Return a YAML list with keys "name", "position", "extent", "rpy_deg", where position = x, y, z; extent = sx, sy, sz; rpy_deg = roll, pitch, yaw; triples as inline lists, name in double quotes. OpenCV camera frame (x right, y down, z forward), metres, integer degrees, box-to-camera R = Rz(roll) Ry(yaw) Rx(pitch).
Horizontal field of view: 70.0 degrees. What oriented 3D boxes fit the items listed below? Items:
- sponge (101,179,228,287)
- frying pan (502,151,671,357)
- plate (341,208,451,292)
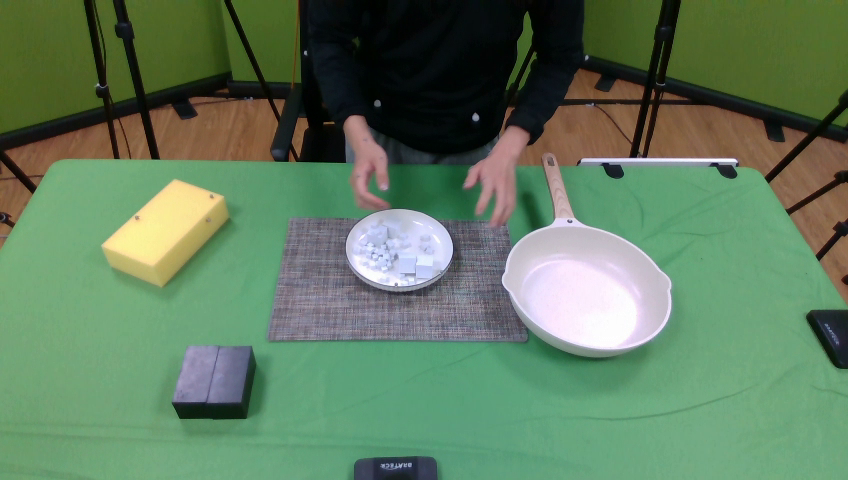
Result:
- name: "sponge"
  position: [-0.486, -0.018, 1.151]
  extent: [0.118, 0.061, 0.206]
  rpy_deg: [19, 47, 12]
- name: "frying pan"
  position: [0.281, 0.008, 1.154]
  extent: [0.307, 0.103, 0.484]
  rpy_deg: [1, 54, -6]
- name: "plate"
  position: [-0.053, 0.022, 1.156]
  extent: [0.208, 0.039, 0.206]
  rpy_deg: [2, 46, -2]
